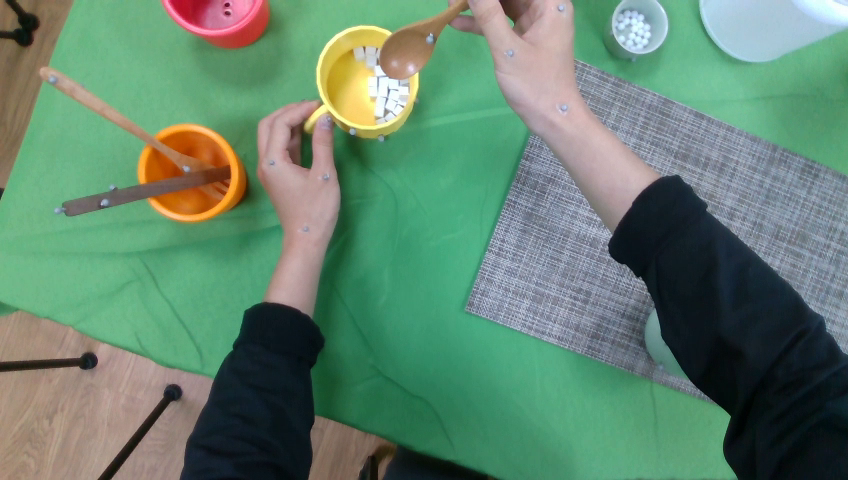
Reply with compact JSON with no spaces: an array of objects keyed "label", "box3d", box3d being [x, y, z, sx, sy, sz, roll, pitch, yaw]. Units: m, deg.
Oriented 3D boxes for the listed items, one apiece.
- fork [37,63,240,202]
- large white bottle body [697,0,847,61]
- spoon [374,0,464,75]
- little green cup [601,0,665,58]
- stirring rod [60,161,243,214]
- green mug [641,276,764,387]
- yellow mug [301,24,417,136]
[{"label":"fork","box3d":[-0.254,-0.094,0.561,0.028,0.018,0.209,-54,139,-4]},{"label":"large white bottle body","box3d":[0.374,-0.263,0.594,0.131,0.184,0.130,0,92,-5]},{"label":"spoon","box3d":[0.023,-0.187,0.470,0.042,0.193,0.021,27,57,-29]},{"label":"little green cup","box3d":[0.223,-0.228,0.655,0.061,0.038,0.061,0,93,-4]},{"label":"stirring rod","box3d":[-0.247,-0.052,0.570,0.176,0.006,0.014,-24,97,-46]},{"label":"green mug","box3d":[0.302,0.091,0.643,0.093,0.105,0.125,38,89,-5]},{"label":"yellow mug","box3d":[-0.071,-0.151,0.617,0.131,0.064,0.100,-37,96,-2]}]
